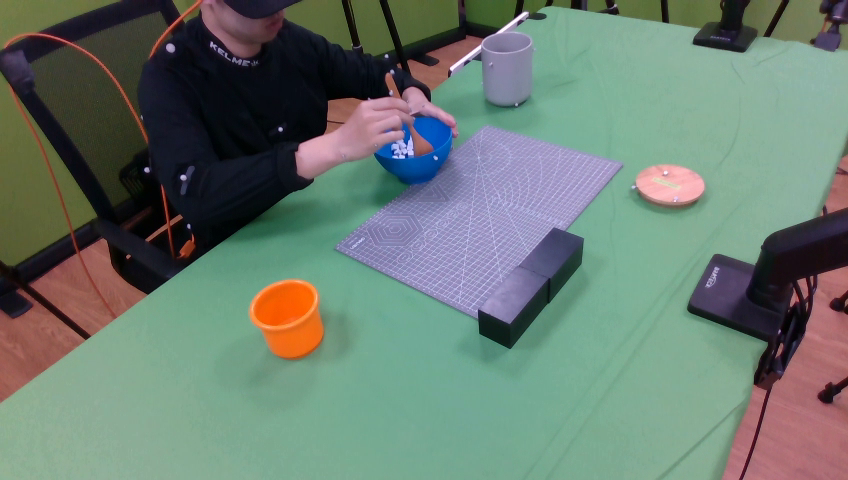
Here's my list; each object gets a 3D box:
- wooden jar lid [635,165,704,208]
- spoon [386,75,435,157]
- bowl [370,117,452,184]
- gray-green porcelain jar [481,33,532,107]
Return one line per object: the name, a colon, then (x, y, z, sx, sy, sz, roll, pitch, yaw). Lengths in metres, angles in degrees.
wooden jar lid: (0.410, -0.089, 1.014, 0.108, 0.021, 0.108, -5, 42, 5)
spoon: (-0.024, -0.193, 1.012, 0.041, 0.195, 0.021, -33, 39, -5)
bowl: (-0.018, -0.155, 1.107, 0.151, 0.077, 0.150, -6, 39, 5)
gray-green porcelain jar: (0.175, -0.355, 1.278, 0.106, 0.127, 0.105, -4, 41, 4)
